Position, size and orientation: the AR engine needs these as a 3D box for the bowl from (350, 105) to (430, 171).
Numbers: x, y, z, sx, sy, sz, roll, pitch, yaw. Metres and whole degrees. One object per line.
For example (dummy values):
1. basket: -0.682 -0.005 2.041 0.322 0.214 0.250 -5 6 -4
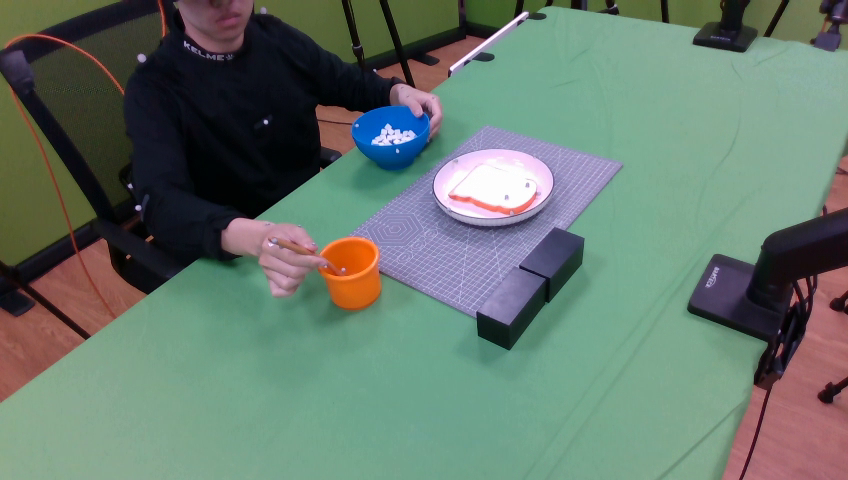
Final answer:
1. bowl: -0.060 -0.186 1.151 0.151 0.077 0.150 -4 41 4

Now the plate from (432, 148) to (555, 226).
1. plate: 0.119 -0.087 1.037 0.209 0.038 0.208 -4 40 4

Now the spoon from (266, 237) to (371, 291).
1. spoon: -0.141 0.033 0.834 0.041 0.195 0.021 32 86 44

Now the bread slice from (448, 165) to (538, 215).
1. bread slice: 0.126 -0.085 1.038 0.133 0.018 0.107 16 45 27
